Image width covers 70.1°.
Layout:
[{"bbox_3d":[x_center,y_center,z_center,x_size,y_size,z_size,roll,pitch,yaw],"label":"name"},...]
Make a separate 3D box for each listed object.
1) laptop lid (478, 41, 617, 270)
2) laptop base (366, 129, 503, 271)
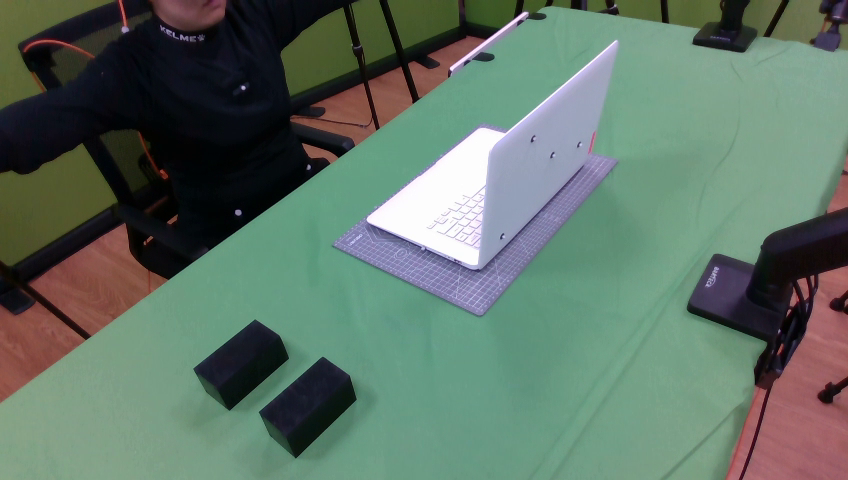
[{"bbox_3d":[0.190,-0.130,0.913,0.013,0.242,0.358,29,50,26],"label":"laptop lid"},{"bbox_3d":[0.098,-0.086,1.059,0.233,0.023,0.355,21,48,34],"label":"laptop base"}]
